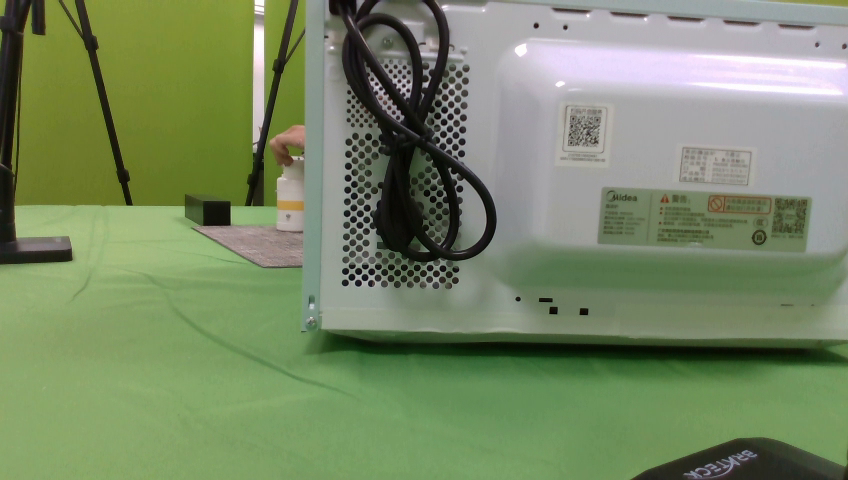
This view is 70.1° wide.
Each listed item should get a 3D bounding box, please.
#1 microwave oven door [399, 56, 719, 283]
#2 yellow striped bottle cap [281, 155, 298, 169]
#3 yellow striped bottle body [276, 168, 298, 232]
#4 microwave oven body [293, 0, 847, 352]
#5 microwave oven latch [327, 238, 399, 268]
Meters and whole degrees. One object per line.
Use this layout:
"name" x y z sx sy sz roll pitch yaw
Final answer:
"microwave oven door" 0.154 -0.078 0.698 0.356 0.243 0.039 2 8 -5
"yellow striped bottle cap" -0.242 -0.143 1.116 0.044 0.018 0.044 6 19 -2
"yellow striped bottle body" -0.244 -0.077 1.128 0.063 0.120 0.063 2 8 0
"microwave oven body" 0.122 -0.055 0.550 0.442 0.260 0.325 3 7 -5
"microwave oven latch" -0.069 0.015 0.694 0.079 0.029 0.030 3 7 -3
